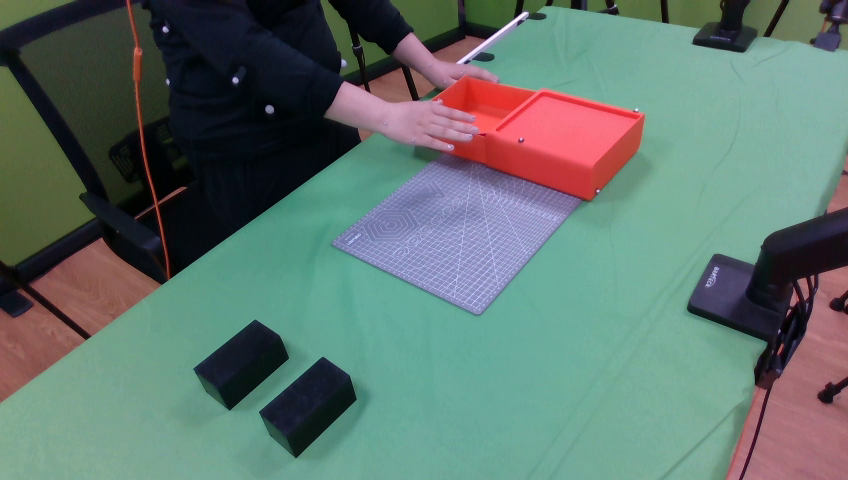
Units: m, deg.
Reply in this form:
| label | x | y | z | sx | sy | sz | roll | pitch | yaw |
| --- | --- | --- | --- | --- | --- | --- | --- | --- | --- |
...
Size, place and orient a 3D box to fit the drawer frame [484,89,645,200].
| label | x | y | z | sx | sy | sz | roll | pitch | yaw |
| --- | --- | --- | --- | --- | --- | --- | --- | --- | --- |
| drawer frame | 0.253 | -0.180 | 1.094 | 0.212 | 0.083 | 0.202 | 24 | 48 | 31 |

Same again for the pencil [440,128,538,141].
| label | x | y | z | sx | sy | sz | roll | pitch | yaw |
| --- | --- | --- | --- | --- | --- | --- | --- | --- | --- |
| pencil | 0.127 | -0.207 | 1.194 | 0.194 | 0.012 | 0.012 | -4 | 40 | 8 |

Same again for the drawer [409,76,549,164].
| label | x | y | z | sx | sy | sz | roll | pitch | yaw |
| --- | --- | --- | --- | --- | --- | --- | --- | --- | --- |
| drawer | 0.113 | -0.237 | 1.190 | 0.210 | 0.073 | 0.195 | 22 | 48 | 33 |
